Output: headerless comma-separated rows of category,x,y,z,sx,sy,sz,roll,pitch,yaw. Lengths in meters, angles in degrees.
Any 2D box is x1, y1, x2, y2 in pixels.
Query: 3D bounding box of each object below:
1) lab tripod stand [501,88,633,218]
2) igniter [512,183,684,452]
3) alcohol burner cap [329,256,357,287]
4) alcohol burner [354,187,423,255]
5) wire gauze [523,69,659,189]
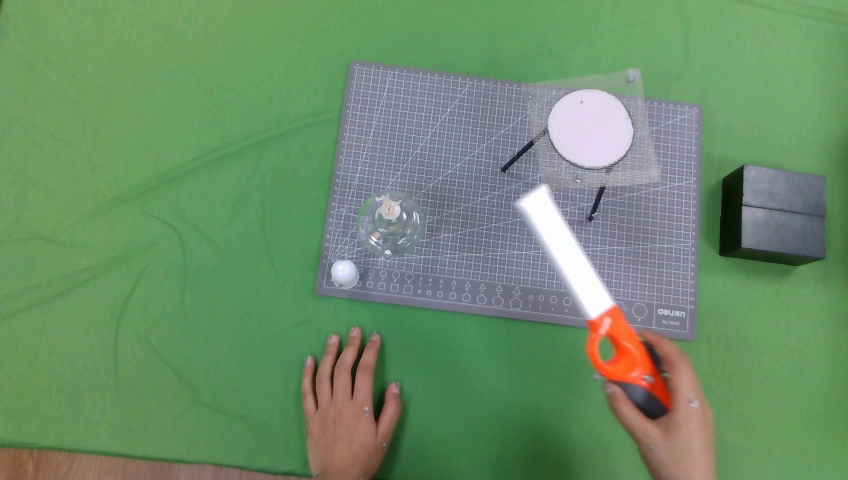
lab tripod stand,0.168,-0.105,0.683,0.148,0.132,0.147,0,77,-1
igniter,0.163,0.074,0.552,0.057,0.025,0.277,-33,97,-10
alcohol burner cap,-0.094,0.034,0.688,0.034,0.048,0.033,1,79,-2
alcohol burner,-0.039,-0.024,0.667,0.078,0.119,0.077,1,80,-3
wire gauze,0.170,-0.113,0.616,0.125,0.011,0.121,-6,79,-4
